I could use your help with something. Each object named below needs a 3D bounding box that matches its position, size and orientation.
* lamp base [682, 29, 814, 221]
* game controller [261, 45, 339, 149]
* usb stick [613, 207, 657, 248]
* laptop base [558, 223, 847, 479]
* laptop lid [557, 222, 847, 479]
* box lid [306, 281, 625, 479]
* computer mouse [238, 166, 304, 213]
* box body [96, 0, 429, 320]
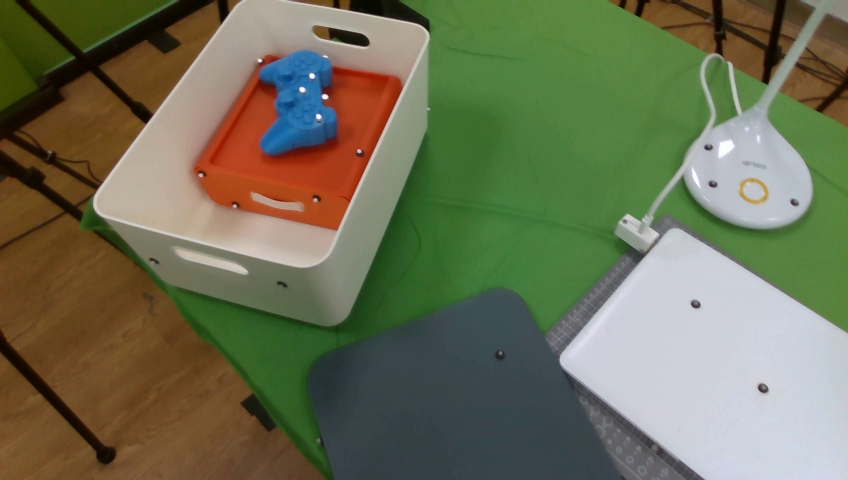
[{"bbox_3d":[0.414,-0.143,0.723,0.160,0.182,0.177,4,55,4],"label":"lamp base"},{"bbox_3d":[-0.159,-0.187,0.762,0.097,0.052,0.153,-6,57,-6],"label":"game controller"},{"bbox_3d":[0.258,-0.011,0.725,0.021,0.027,0.058,-37,66,-25],"label":"usb stick"},{"bbox_3d":[0.348,0.152,0.635,0.351,0.023,0.235,38,70,22],"label":"laptop base"},{"bbox_3d":[0.345,0.147,0.624,0.354,0.013,0.241,39,69,23],"label":"laptop lid"},{"bbox_3d":[0.050,0.225,0.604,0.263,0.015,0.367,-20,60,-10],"label":"box lid"},{"bbox_3d":[-0.193,-0.071,0.768,0.063,0.041,0.116,-12,18,5],"label":"computer mouse"},{"bbox_3d":[-0.158,-0.108,0.730,0.253,0.162,0.361,14,59,10],"label":"box body"}]
